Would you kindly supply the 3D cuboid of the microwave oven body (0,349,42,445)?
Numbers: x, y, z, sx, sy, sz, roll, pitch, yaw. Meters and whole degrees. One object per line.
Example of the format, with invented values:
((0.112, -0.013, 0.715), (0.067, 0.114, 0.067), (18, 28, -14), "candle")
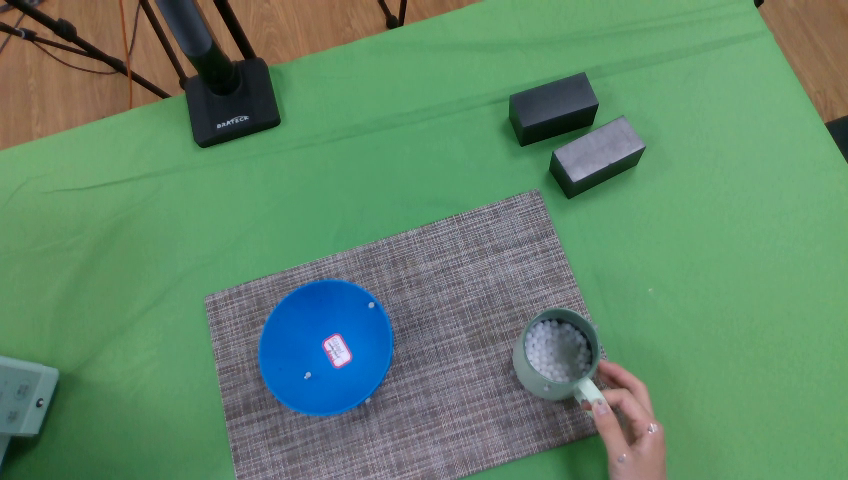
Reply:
((-0.656, 0.289, 0.597), (0.325, 0.262, 0.439), (9, 73, 8), "microwave oven body")

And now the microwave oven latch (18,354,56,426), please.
((-0.467, 0.179, 0.719), (0.030, 0.030, 0.079), (11, 73, 9), "microwave oven latch")

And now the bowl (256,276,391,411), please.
((-0.106, 0.123, 0.696), (0.151, 0.077, 0.150), (-2, 71, 5), "bowl")

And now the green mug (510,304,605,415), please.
((0.150, 0.133, 0.653), (0.092, 0.105, 0.124), (-34, 71, -6), "green mug")
